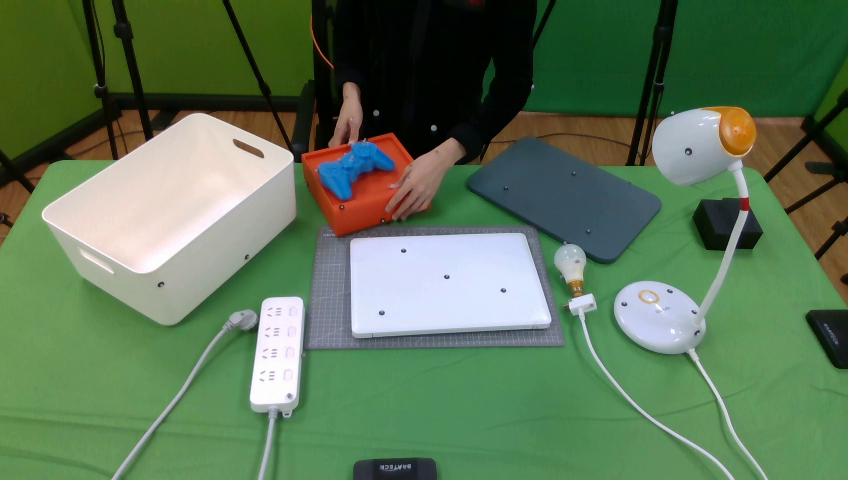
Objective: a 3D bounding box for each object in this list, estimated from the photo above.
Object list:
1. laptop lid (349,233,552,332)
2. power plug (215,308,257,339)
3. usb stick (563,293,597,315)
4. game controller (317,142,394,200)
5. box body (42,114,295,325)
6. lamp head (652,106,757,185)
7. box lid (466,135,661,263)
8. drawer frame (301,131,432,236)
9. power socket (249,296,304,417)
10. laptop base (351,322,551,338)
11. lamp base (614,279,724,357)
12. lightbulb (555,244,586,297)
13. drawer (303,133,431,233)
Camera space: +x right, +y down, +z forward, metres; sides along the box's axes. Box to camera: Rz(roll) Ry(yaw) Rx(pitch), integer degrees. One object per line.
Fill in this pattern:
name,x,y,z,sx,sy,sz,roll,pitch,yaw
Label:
laptop lid,0.040,0.070,1.119,0.357,0.013,0.240,-1,44,-5
power plug,-0.317,0.143,1.024,0.072,0.053,0.035,-32,58,-9
usb stick,0.280,0.118,1.093,0.059,0.021,0.027,-18,35,25
game controller,-0.142,-0.148,1.213,0.096,0.052,0.155,30,50,28
box body,-0.437,-0.046,1.110,0.253,0.161,0.363,24,49,19
lamp head,0.411,-0.139,0.869,0.113,0.122,0.112,0,89,-19
box lid,0.306,-0.102,1.327,0.370,0.015,0.263,32,52,25
drawer frame,-0.120,-0.122,1.262,0.214,0.083,0.200,-18,50,-20
power socket,-0.239,0.182,0.996,0.072,0.033,0.225,-2,47,-5
laptop base,0.039,0.080,1.125,0.355,0.023,0.234,-2,43,-6
lamp base,0.436,0.090,1.035,0.161,0.181,0.178,-23,55,-23
lightbulb,0.281,0.058,1.146,0.059,0.060,0.107,-2,62,-6
drawer,-0.120,-0.123,1.264,0.212,0.073,0.193,-18,50,-21
